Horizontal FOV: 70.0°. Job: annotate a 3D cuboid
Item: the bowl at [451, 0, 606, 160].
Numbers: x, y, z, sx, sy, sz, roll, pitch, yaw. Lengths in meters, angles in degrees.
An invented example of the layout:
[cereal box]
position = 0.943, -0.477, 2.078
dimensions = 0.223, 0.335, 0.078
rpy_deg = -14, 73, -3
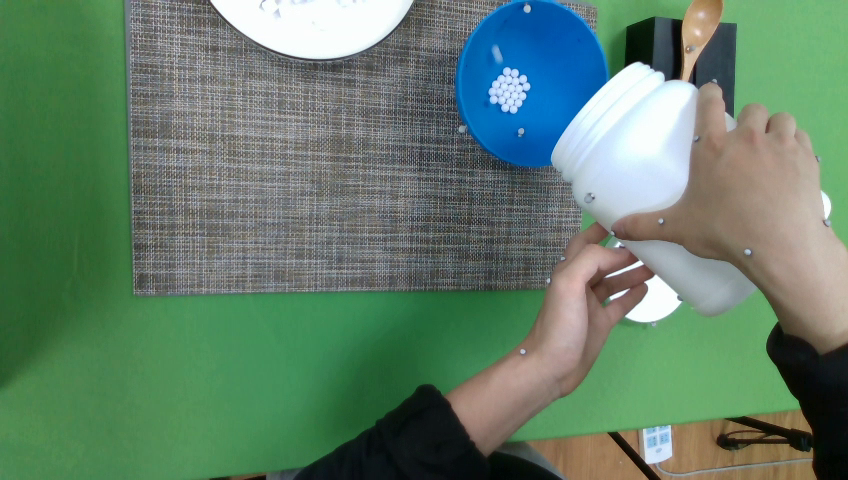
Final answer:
[bowl]
position = 0.089, -0.153, 0.585
dimensions = 0.152, 0.076, 0.151
rpy_deg = -2, 98, -16

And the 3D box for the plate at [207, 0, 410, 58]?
[plate]
position = -0.105, -0.264, 0.535
dimensions = 0.210, 0.038, 0.209
rpy_deg = -1, 95, -16

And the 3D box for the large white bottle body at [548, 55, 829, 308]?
[large white bottle body]
position = 0.205, -0.051, 0.494
dimensions = 0.130, 0.131, 0.183
rpy_deg = -43, 76, -7

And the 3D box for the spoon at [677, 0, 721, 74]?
[spoon]
position = 0.257, -0.161, 0.620
dimensions = 0.042, 0.021, 0.194
rpy_deg = 12, 99, -20

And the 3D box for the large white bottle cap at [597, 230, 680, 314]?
[large white bottle cap]
position = 0.253, 0.028, 0.694
dimensions = 0.115, 0.018, 0.115
rpy_deg = -2, 99, -17
